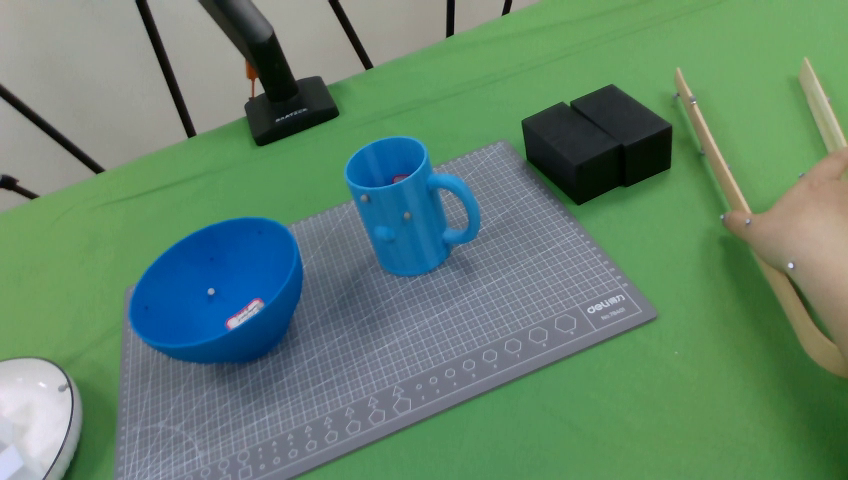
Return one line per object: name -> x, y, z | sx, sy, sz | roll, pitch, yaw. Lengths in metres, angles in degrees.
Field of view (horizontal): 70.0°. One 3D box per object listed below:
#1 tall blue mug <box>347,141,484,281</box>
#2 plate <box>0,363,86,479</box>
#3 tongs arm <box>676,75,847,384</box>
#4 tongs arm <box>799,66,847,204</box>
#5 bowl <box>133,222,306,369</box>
tall blue mug -> -0.003, -0.028, 0.560 | 0.107, 0.109, 0.077 | -14, 41, 4
plate -> -0.380, 0.198, 0.504 | 0.209, 0.038, 0.207 | -9, 42, 9
tongs arm -> 0.290, -0.042, 0.533 | 0.050, 0.027, 0.381 | -2, 44, 8
tongs arm -> 0.358, -0.043, 0.520 | 0.028, 0.028, 0.384 | 8, 46, 13
bowl -> -0.168, 0.062, 0.543 | 0.151, 0.077, 0.150 | -10, 42, 9
